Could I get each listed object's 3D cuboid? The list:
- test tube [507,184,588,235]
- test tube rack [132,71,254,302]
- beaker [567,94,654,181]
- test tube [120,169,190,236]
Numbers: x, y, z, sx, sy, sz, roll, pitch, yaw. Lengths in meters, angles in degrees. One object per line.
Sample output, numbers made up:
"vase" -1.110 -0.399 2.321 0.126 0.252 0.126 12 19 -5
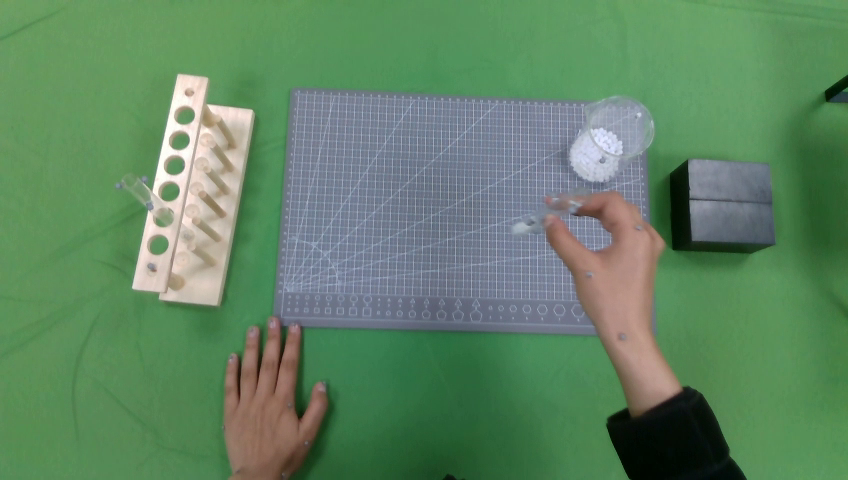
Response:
"test tube" 0.105 -0.024 0.541 0.017 0.150 0.017 2 80 -12
"test tube rack" -0.255 -0.058 0.684 0.067 0.085 0.241 7 78 -1
"beaker" 0.211 -0.118 0.714 0.084 0.100 0.074 33 77 6
"test tube" -0.274 -0.034 0.628 0.017 0.151 0.017 0 70 -1
